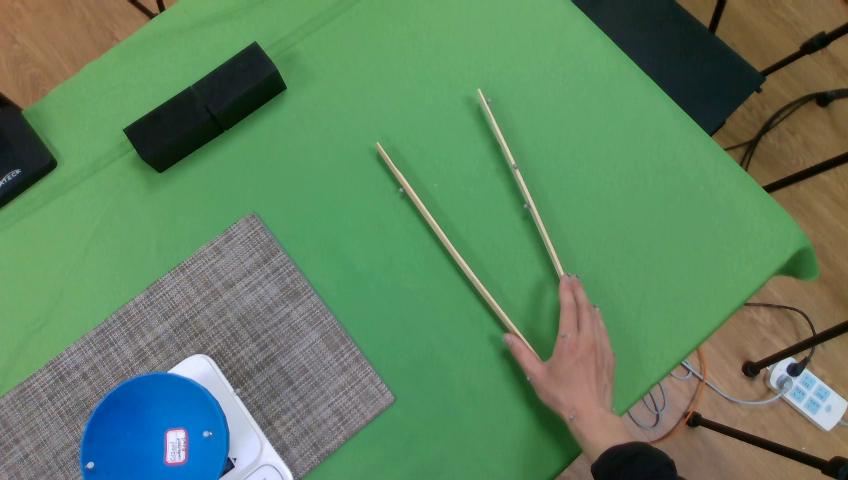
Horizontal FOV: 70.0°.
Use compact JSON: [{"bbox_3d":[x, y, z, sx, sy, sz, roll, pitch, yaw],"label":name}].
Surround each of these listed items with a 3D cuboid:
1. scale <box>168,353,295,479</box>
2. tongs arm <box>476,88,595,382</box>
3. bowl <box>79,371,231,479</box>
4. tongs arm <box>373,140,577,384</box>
[{"bbox_3d":[-0.260,0.246,0.695,0.148,0.032,0.200,-38,79,-7],"label":"scale"},{"bbox_3d":[0.125,-0.013,0.751,0.051,0.026,0.383,-23,79,-5],"label":"tongs arm"},{"bbox_3d":[-0.273,0.218,0.648,0.151,0.077,0.150,0,76,0],"label":"bowl"},{"bbox_3d":[0.053,0.024,0.746,0.028,0.028,0.386,-35,79,-11],"label":"tongs arm"}]
